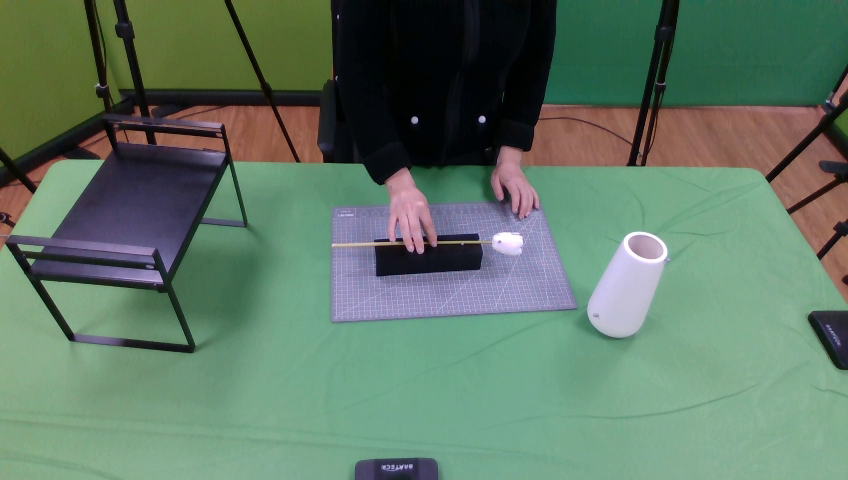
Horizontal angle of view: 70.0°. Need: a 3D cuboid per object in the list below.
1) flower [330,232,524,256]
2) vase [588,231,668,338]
[{"bbox_3d":[0.009,0.003,1.126,0.362,0.038,0.044,2,80,-7],"label":"flower"},{"bbox_3d":[0.343,0.079,1.022,0.098,0.201,0.097,2,47,-2],"label":"vase"}]
